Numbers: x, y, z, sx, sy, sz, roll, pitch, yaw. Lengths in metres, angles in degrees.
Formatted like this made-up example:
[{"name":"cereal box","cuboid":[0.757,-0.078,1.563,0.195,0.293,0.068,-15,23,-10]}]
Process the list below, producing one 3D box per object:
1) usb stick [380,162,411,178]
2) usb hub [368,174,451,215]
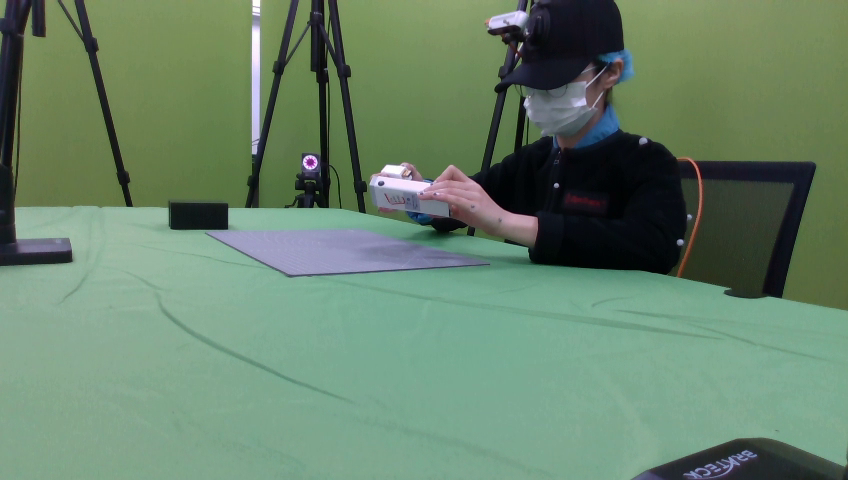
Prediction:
[{"name":"usb stick","cuboid":[-0.041,-0.108,0.972,0.059,0.021,0.027,11,-31,42]},{"name":"usb hub","cuboid":[-0.021,-0.070,0.926,0.125,0.049,0.025,8,53,12]}]
